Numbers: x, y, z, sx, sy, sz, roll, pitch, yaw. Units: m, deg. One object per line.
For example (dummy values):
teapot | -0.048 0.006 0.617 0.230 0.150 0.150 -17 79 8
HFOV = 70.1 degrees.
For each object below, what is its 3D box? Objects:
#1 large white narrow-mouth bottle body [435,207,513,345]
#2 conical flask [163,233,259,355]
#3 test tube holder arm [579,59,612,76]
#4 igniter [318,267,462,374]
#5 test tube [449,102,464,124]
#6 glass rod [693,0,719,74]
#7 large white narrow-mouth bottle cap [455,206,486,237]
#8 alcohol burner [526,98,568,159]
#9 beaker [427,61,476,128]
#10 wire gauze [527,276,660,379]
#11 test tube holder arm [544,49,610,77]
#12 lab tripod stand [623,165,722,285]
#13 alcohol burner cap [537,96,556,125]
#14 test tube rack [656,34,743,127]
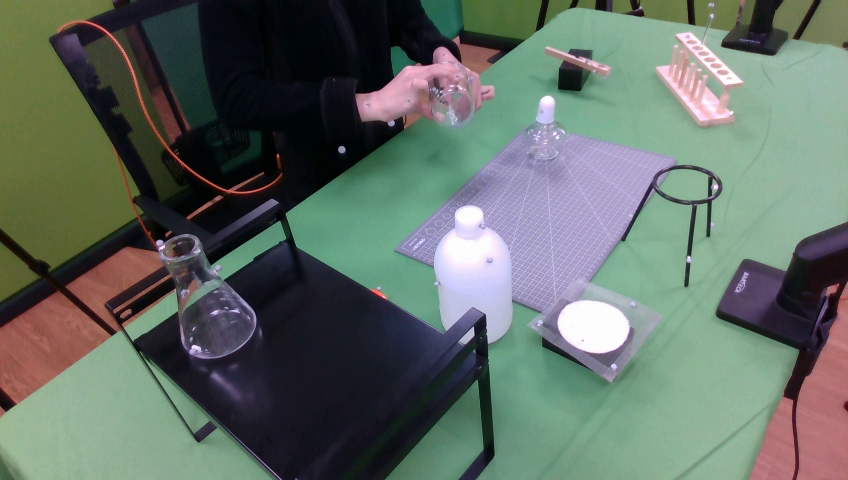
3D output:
large white narrow-mouth bottle body | 0.065 0.041 0.791 0.102 0.195 0.101 -4 41 4
conical flask | -0.216 0.051 0.601 0.075 0.122 0.075 -4 40 4
test tube holder arm | 0.362 -0.368 1.289 0.010 0.015 0.087 -25 43 -31
igniter | -0.059 0.107 0.862 0.274 0.025 0.057 28 62 34
test tube | 0.060 -0.229 1.097 0.017 0.017 0.150 -1 2 8
glass rod | 0.560 -0.401 1.214 0.008 0.200 0.008 -1 48 2
large white narrow-mouth bottle cap | 0.056 -0.023 0.734 0.038 0.024 0.037 -4 40 4
alcohol burner | 0.228 -0.210 1.118 0.078 0.119 0.077 -5 43 5
beaker | 0.044 -0.227 0.965 0.074 0.084 0.100 -7 37 2
wire gauze | 0.213 0.103 0.763 0.124 0.011 0.122 30 52 35
test tube holder arm | 0.330 -0.387 1.314 0.013 0.015 0.177 -25 43 -31
lab tripod stand | 0.365 -0.030 0.875 0.148 0.132 0.147 -6 41 6
alcohol burner cap | 0.223 -0.237 1.095 0.034 0.048 0.033 0 43 1
test tube rack | 0.553 -0.330 1.233 0.067 0.085 0.241 -7 40 2
